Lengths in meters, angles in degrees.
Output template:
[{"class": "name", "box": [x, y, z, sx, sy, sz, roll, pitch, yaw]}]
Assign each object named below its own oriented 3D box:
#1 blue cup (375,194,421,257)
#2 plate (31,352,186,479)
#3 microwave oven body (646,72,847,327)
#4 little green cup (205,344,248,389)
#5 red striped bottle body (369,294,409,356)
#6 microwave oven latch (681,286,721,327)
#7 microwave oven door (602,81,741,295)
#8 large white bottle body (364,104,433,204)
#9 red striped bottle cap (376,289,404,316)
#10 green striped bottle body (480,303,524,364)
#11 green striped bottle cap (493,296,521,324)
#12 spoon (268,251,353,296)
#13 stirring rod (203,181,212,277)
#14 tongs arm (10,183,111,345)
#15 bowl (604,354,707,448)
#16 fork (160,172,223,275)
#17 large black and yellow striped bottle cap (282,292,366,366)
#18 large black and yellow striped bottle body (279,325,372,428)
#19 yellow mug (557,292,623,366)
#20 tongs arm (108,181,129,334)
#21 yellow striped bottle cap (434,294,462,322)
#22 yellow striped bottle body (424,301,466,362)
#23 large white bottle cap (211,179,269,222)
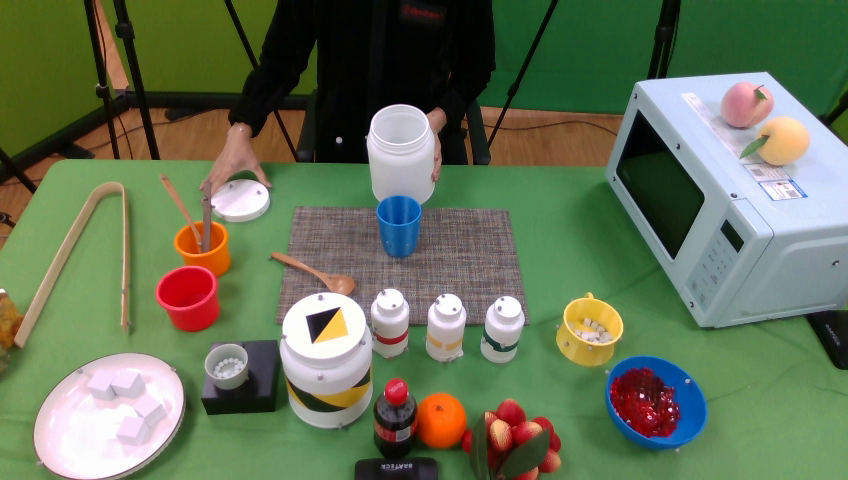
[{"class": "blue cup", "box": [-0.050, -0.022, 1.155, 0.093, 0.101, 0.092, 1, 46, -1]}, {"class": "plate", "box": [-0.459, 0.262, 0.898, 0.209, 0.038, 0.208, 2, 46, -2]}, {"class": "microwave oven body", "box": [0.607, -0.089, 1.164, 0.326, 0.261, 0.438, -7, 46, -10]}, {"class": "little green cup", "box": [-0.293, 0.191, 0.909, 0.061, 0.039, 0.061, 1, 47, -1]}, {"class": "red striped bottle body", "box": [-0.059, 0.134, 0.997, 0.063, 0.120, 0.062, 5, 48, -5]}, {"class": "microwave oven latch", "box": [0.494, 0.119, 1.086, 0.030, 0.029, 0.078, -5, 46, -9]}, {"class": "microwave oven door", "box": [0.456, -0.107, 1.162, 0.039, 0.245, 0.353, -7, 47, -11]}, {"class": "large white bottle body", "box": [-0.048, -0.163, 1.189, 0.130, 0.185, 0.130, 0, 55, 0]}, {"class": "red striped bottle cap", "box": [-0.054, 0.098, 0.958, 0.044, 0.018, 0.044, 0, 48, 1]}, {"class": "green striped bottle body", "box": [0.129, 0.147, 1.000, 0.063, 0.120, 0.063, 2, 46, -2]}, {"class": "green striped bottle cap", "box": [0.133, 0.111, 0.962, 0.044, 0.020, 0.044, 2, 47, -2]}, {"class": "spoon", "box": [-0.212, 0.057, 1.121, 0.193, 0.022, 0.041, 24, 74, 18]}, {"class": "stirring rod", "box": [-0.396, -0.021, 1.107, 0.014, 0.006, 0.176, -1, 89, -1]}, {"class": "tongs arm", "box": [-0.658, 0.027, 1.109, 0.028, 0.028, 0.385, -2, 45, 1]}, {"class": "bowl", "box": [0.346, 0.261, 0.937, 0.151, 0.077, 0.150, 2, 46, -2]}, {"class": "fork", "box": [-0.425, -0.030, 1.103, 0.028, 0.018, 0.207, -28, 98, -12]}, {"class": "large black and yellow striped bottle cap", "box": [-0.138, 0.121, 0.841, 0.115, 0.019, 0.114, 3, 47, -3]}, {"class": "large black and yellow striped bottle body", "box": [-0.143, 0.181, 0.900, 0.131, 0.185, 0.130, 2, 46, -2]}, {"class": "yellow mug", "box": [0.285, 0.145, 1.051, 0.100, 0.064, 0.130, 7, 45, 4]}, {"class": "tongs arm", "box": [-0.571, 0.019, 1.123, 0.051, 0.026, 0.382, -10, 47, -12]}, {"class": "yellow striped bottle cap", "box": [0.038, 0.107, 0.958, 0.044, 0.019, 0.044, 2, 45, -2]}, {"class": "yellow striped bottle body", "box": [0.035, 0.143, 0.995, 0.063, 0.121, 0.062, 3, 46, -3]}, {"class": "large white bottle cap", "box": [-0.380, -0.082, 1.250, 0.115, 0.018, 0.114, 2, 47, -2]}]
